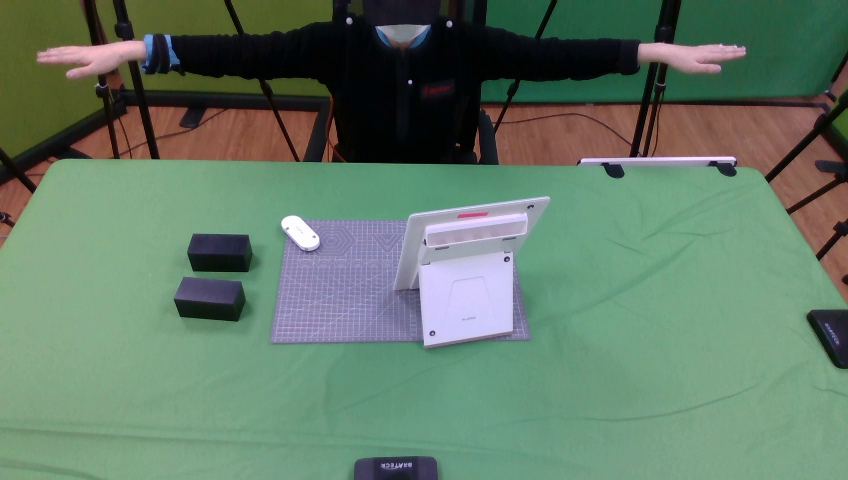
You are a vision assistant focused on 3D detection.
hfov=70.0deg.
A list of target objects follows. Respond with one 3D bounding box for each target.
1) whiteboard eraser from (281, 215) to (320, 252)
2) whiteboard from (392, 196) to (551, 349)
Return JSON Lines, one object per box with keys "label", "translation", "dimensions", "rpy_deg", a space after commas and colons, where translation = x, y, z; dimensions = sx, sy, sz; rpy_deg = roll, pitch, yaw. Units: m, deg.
{"label": "whiteboard eraser", "translation": [-0.243, -0.015, 1.191], "dimensions": [0.041, 0.019, 0.100], "rpy_deg": [-30, 56, -28]}
{"label": "whiteboard", "translation": [0.077, 0.071, 0.977], "dimensions": [0.217, 0.306, 0.143], "rpy_deg": [-7, 67, -11]}
